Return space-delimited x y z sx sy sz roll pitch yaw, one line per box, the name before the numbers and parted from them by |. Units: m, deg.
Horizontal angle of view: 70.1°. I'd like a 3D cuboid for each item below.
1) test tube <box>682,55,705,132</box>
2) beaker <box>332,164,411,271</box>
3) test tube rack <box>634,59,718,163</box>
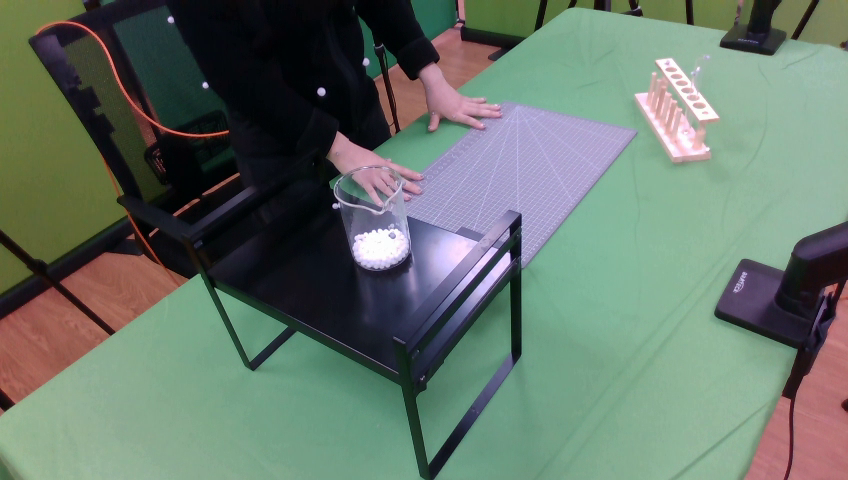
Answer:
test tube | 0.480 -0.258 1.080 0.017 0.151 0.017 -5 43 5
beaker | -0.053 -0.020 0.670 0.074 0.101 0.083 -19 42 -12
test tube rack | 0.470 -0.250 1.148 0.067 0.085 0.241 -6 40 3
